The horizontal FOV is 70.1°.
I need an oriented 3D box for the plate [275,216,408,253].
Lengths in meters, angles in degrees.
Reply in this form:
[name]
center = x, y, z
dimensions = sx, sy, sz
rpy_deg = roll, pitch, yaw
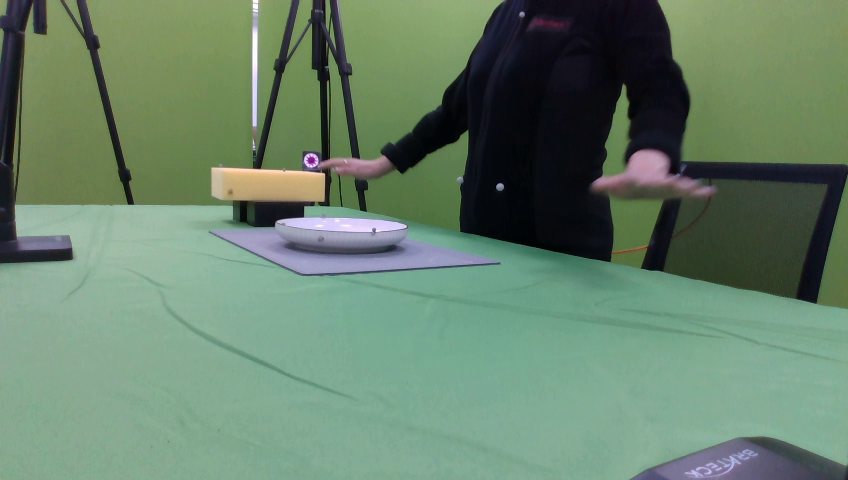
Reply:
[plate]
center = -0.129, -0.009, 0.954
dimensions = 0.209, 0.038, 0.209
rpy_deg = 2, 7, 0

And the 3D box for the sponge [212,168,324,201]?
[sponge]
center = -0.325, -0.115, 1.259
dimensions = 0.208, 0.061, 0.117
rpy_deg = -2, 9, -30
